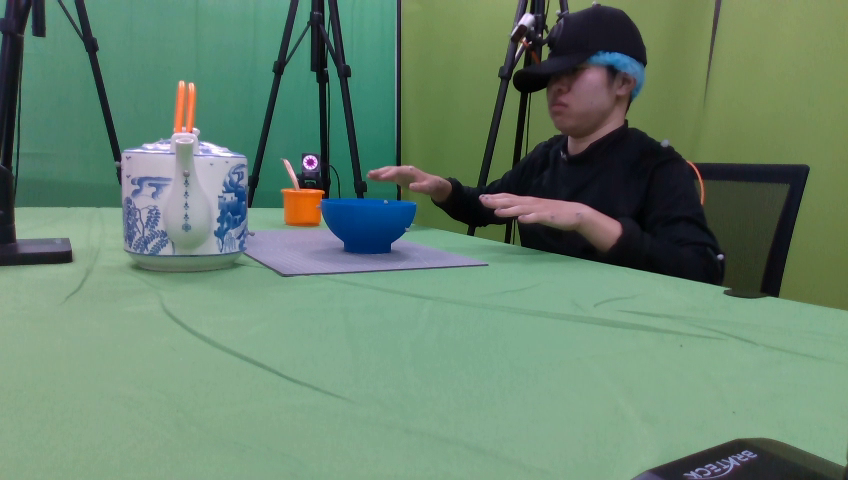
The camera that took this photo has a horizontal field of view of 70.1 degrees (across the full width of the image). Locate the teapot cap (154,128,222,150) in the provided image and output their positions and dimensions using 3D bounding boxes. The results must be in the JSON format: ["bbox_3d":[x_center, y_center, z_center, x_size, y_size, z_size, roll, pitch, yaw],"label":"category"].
[{"bbox_3d":[-0.294,-0.117,0.754,0.085,0.044,0.085,4,9,0],"label":"teapot cap"}]

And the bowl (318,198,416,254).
[{"bbox_3d":[-0.089,-0.022,0.941,0.151,0.077,0.151,2,7,0],"label":"bowl"}]

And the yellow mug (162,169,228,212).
[{"bbox_3d":[-0.366,-0.083,0.995,0.100,0.064,0.131,5,7,16],"label":"yellow mug"}]

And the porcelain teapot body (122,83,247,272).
[{"bbox_3d":[-0.286,-0.075,0.733,0.146,0.225,0.204,0,8,-24],"label":"porcelain teapot body"}]

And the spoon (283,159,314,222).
[{"bbox_3d":[-0.280,-0.110,1.323,0.042,0.193,0.021,1,-38,-35],"label":"spoon"}]
